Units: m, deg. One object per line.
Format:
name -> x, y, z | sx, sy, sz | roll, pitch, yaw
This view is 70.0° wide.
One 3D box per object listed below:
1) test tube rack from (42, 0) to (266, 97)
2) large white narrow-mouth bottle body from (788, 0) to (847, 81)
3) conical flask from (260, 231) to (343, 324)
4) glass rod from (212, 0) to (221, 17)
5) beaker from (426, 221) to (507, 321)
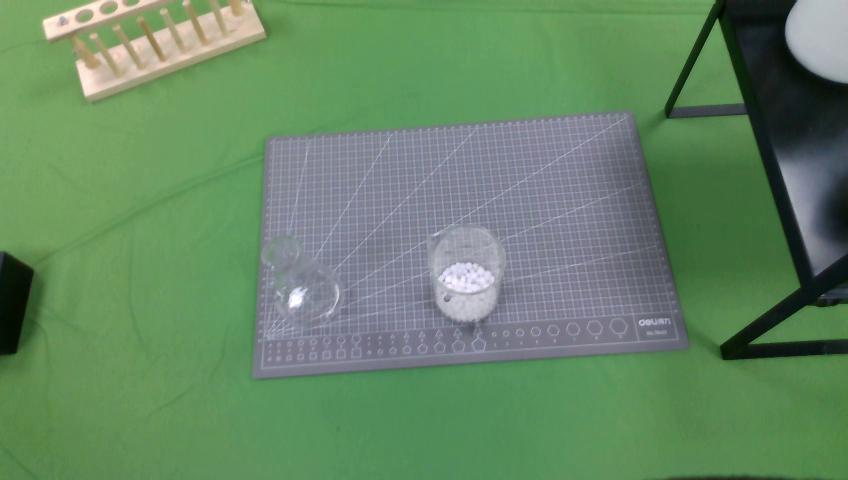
test tube rack -> -0.336, -0.275, 0.772 | 0.242, 0.086, 0.066 | -23, 67, -8
large white narrow-mouth bottle body -> 0.371, -0.219, 0.462 | 0.102, 0.196, 0.101 | -2, 65, 4
conical flask -> -0.127, 0.033, 0.604 | 0.075, 0.123, 0.075 | -1, 65, 3
glass rod -> -0.272, -0.347, 0.729 | 0.008, 0.201, 0.008 | 1, 64, -2
beaker -> 0.039, 0.034, 0.609 | 0.083, 0.101, 0.074 | 31, 70, 17
